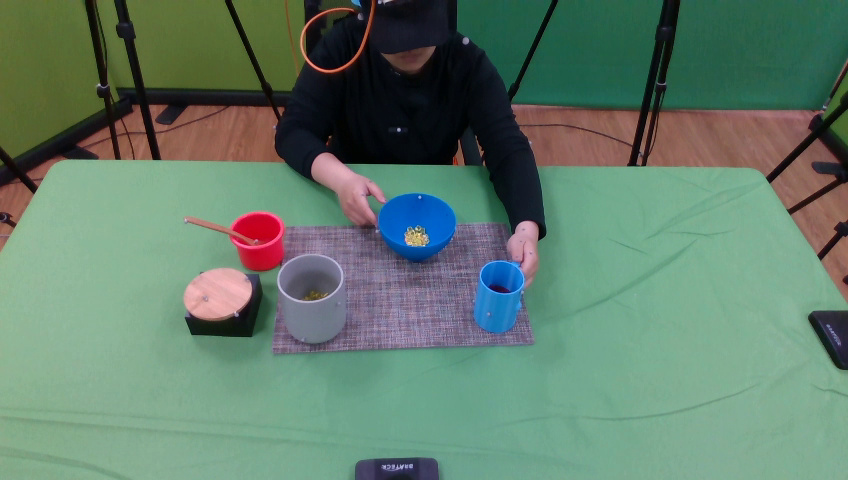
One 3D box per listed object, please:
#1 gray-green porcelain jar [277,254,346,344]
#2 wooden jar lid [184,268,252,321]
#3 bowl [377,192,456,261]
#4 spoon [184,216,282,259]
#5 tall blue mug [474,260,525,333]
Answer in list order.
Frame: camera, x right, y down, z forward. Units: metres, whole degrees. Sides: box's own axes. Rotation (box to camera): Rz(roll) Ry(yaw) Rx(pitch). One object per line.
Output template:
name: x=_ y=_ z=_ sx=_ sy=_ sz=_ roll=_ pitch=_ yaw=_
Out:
gray-green porcelain jar: x=-0.184 y=0.102 z=1.008 sx=0.106 sy=0.127 sz=0.105 roll=2 pitch=46 yaw=-2
wooden jar lid: x=-0.343 y=0.092 z=1.015 sx=0.108 sy=0.021 sz=0.107 roll=3 pitch=46 yaw=-3
bowl: x=-0.015 y=-0.013 z=1.166 sx=0.151 sy=0.077 sz=0.150 roll=2 pitch=46 yaw=-2
spoon: x=-0.341 y=-0.008 z=1.096 sx=0.021 sy=0.195 sz=0.041 roll=-35 pitch=47 yaw=26
tall blue mug: x=0.131 y=0.088 z=1.057 sx=0.078 sy=0.108 sz=0.106 roll=5 pitch=45 yaw=2
